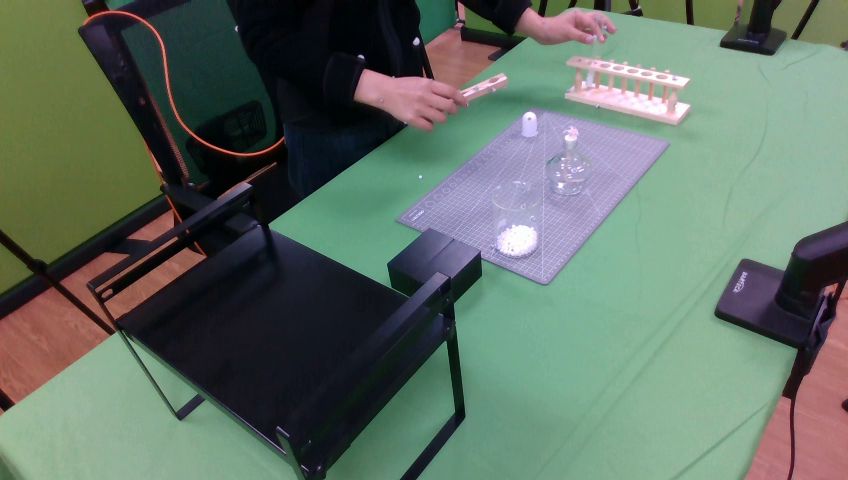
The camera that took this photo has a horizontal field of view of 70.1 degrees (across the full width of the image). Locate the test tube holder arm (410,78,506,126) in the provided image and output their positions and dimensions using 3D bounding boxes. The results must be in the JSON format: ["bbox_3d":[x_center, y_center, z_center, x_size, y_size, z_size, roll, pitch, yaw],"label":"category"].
[{"bbox_3d":[0.058,-0.233,1.016,0.179,0.015,0.013,-26,50,-9],"label":"test tube holder arm"}]

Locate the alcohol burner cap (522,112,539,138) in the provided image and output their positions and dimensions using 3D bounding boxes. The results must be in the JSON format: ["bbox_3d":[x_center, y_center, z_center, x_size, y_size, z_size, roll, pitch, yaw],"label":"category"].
[{"bbox_3d":[0.210,-0.230,1.195,0.034,0.048,0.033,-6,41,5],"label":"alcohol burner cap"}]

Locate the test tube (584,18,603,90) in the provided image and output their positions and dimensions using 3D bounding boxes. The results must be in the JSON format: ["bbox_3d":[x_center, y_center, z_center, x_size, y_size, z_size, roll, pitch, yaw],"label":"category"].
[{"bbox_3d":[0.341,-0.372,1.219,0.017,0.151,0.017,-1,44,2],"label":"test tube"}]

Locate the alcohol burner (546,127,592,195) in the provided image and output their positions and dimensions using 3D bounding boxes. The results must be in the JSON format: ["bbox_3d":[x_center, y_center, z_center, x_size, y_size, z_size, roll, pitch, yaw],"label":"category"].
[{"bbox_3d":[0.246,-0.137,1.024,0.078,0.119,0.077,-4,38,4],"label":"alcohol burner"}]

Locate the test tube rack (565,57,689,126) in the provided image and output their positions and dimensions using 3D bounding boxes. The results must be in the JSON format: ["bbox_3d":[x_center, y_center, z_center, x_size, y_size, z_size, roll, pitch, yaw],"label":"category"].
[{"bbox_3d":[0.412,-0.311,1.230,0.240,0.085,0.067,23,49,32],"label":"test tube rack"}]

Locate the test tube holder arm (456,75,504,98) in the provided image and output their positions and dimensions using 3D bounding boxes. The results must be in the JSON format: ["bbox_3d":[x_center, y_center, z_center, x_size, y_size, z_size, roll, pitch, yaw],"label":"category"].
[{"bbox_3d":[0.096,-0.257,1.026,0.088,0.015,0.010,-25,50,-8],"label":"test tube holder arm"}]

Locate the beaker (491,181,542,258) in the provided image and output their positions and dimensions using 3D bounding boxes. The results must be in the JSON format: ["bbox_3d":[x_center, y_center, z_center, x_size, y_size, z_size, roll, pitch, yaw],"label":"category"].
[{"bbox_3d":[0.144,-0.030,0.925,0.073,0.101,0.084,23,48,31],"label":"beaker"}]
